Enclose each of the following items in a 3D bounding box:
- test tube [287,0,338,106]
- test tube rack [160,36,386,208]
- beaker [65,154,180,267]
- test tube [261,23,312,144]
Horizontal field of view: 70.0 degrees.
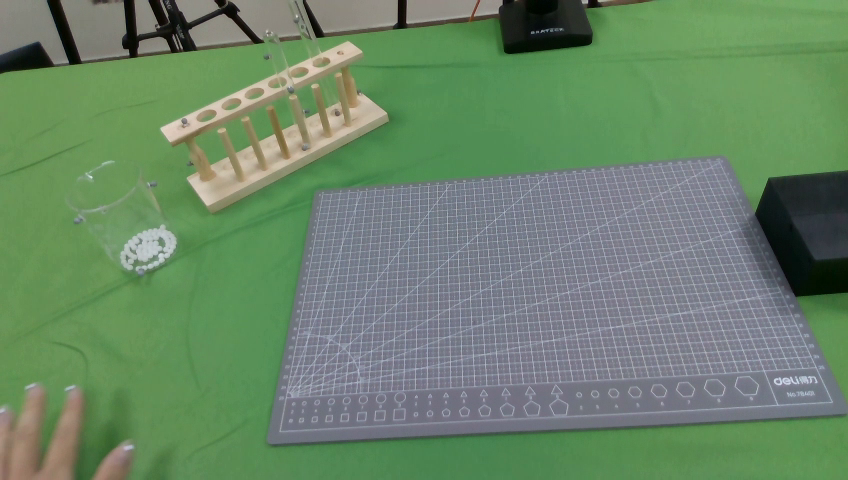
[{"bbox_3d":[-0.128,-0.219,0.705,0.017,0.152,0.017,-7,49,8],"label":"test tube"},{"bbox_3d":[-0.168,-0.142,0.709,0.242,0.086,0.066,-32,52,-19],"label":"test tube rack"},{"bbox_3d":[-0.304,-0.027,0.620,0.083,0.101,0.074,28,58,30],"label":"beaker"},{"bbox_3d":[-0.150,-0.169,0.671,0.017,0.152,0.017,-5,47,6],"label":"test tube"}]
